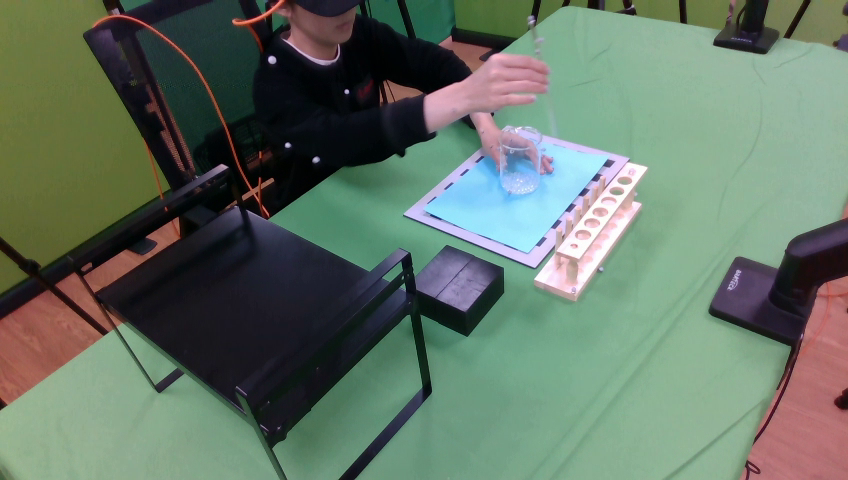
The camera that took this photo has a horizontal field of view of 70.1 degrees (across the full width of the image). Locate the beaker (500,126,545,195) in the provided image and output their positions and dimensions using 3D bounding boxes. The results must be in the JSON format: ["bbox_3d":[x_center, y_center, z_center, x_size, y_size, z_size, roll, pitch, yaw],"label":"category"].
[{"bbox_3d":[0.169,-0.137,1.045,0.074,0.101,0.083,-8,40,0],"label":"beaker"}]

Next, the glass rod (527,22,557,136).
[{"bbox_3d":[0.173,-0.226,0.873,0.008,0.201,0.008,-13,47,14],"label":"glass rod"}]

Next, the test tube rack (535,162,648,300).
[{"bbox_3d":[0.257,-0.024,0.916,0.066,0.085,0.243,22,49,30],"label":"test tube rack"}]
